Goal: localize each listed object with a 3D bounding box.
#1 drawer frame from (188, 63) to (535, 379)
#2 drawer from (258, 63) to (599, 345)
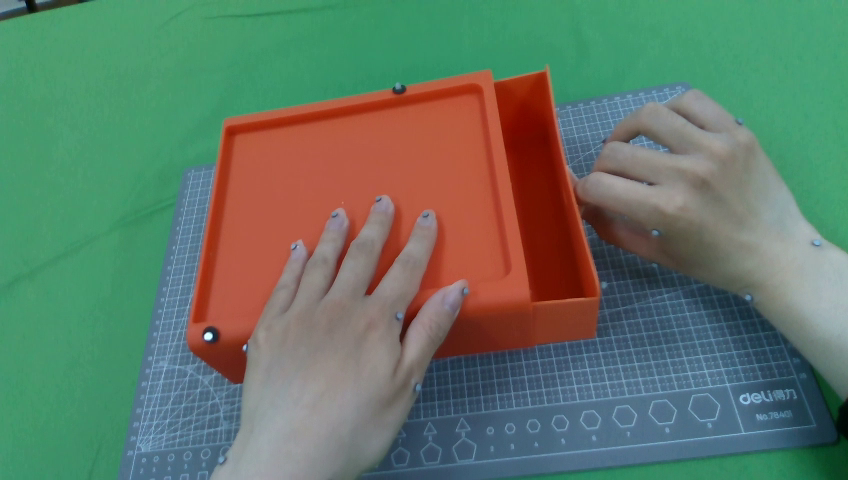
[{"bbox_3d":[-0.038,-0.015,0.435,0.213,0.083,0.199,-9,57,7],"label":"drawer frame"},{"bbox_3d":[0.001,-0.020,0.430,0.211,0.074,0.192,-8,57,8],"label":"drawer"}]
